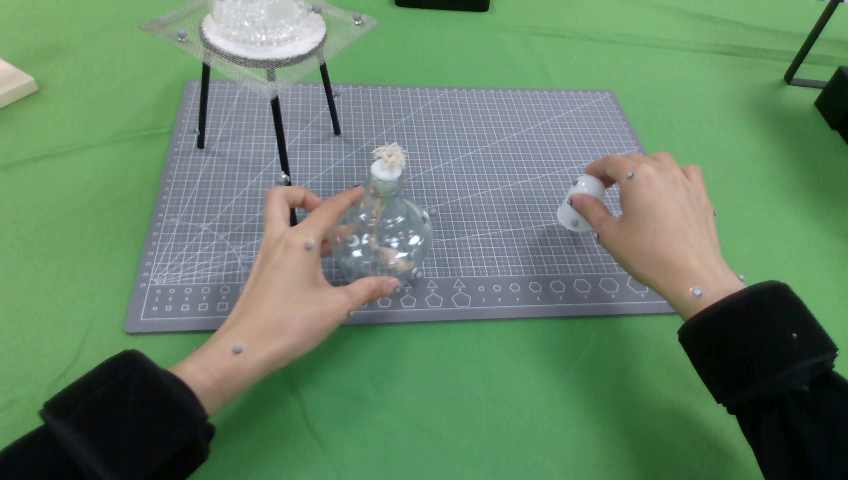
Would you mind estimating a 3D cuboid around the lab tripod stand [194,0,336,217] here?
[{"bbox_3d":[-0.122,-0.113,0.483,0.148,0.132,0.147,5,49,-6],"label":"lab tripod stand"}]

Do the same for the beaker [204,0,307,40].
[{"bbox_3d":[-0.116,-0.192,0.400,0.073,0.101,0.084,37,55,21],"label":"beaker"}]

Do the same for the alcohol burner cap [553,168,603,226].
[{"bbox_3d":[0.127,-0.037,0.490,0.034,0.048,0.033,5,51,-5],"label":"alcohol burner cap"}]

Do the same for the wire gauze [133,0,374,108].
[{"bbox_3d":[-0.118,-0.155,0.434,0.124,0.011,0.121,32,55,13],"label":"wire gauze"}]

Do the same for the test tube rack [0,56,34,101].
[{"bbox_3d":[-0.452,-0.117,0.473,0.066,0.086,0.241,29,51,16],"label":"test tube rack"}]

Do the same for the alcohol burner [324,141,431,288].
[{"bbox_3d":[-0.032,-0.021,0.430,0.078,0.120,0.077,5,46,-5],"label":"alcohol burner"}]
